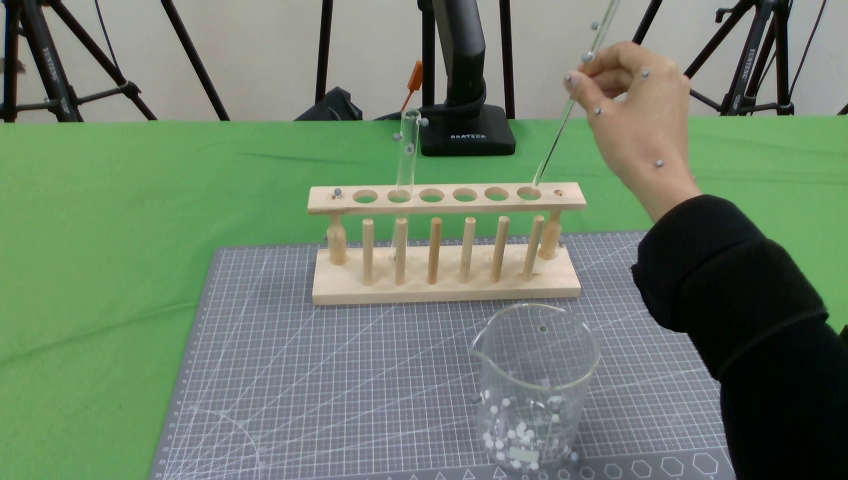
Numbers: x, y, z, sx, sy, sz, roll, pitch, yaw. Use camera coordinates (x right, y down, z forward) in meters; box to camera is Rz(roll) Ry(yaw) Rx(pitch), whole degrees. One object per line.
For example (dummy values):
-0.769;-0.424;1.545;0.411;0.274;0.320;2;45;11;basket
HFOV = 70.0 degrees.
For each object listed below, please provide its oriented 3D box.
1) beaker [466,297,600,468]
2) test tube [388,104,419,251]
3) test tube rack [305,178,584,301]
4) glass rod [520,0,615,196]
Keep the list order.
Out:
0.069;0.100;0.412;0.084;0.101;0.073;-1;39;-1;beaker
-0.019;-0.048;0.525;0.017;0.151;0.017;5;40;-4;test tube
0.019;-0.001;0.547;0.243;0.086;0.066;-1;39;-4;test tube rack
0.109;-0.104;0.483;0.008;0.201;0.008;9;45;-9;glass rod
